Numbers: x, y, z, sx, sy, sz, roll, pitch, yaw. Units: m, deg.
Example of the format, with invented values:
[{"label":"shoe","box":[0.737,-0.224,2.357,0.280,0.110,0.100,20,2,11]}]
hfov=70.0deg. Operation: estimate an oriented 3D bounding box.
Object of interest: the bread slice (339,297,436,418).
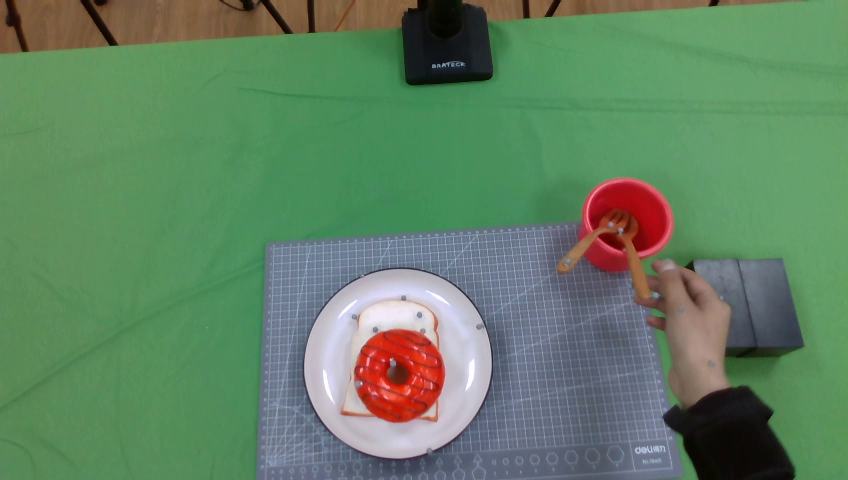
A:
[{"label":"bread slice","box":[-0.038,0.128,0.675,0.105,0.019,0.130,3,70,1]}]

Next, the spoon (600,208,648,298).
[{"label":"spoon","box":[0.218,0.009,0.656,0.041,0.022,0.192,4,24,8]}]

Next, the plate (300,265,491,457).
[{"label":"plate","box":[-0.031,0.132,0.670,0.209,0.038,0.207,0,69,1]}]

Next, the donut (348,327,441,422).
[{"label":"donut","box":[-0.030,0.140,0.638,0.099,0.048,0.098,1,73,-2]}]

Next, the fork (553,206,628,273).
[{"label":"fork","box":[0.182,-0.004,0.654,0.028,0.019,0.207,28,29,23]}]
